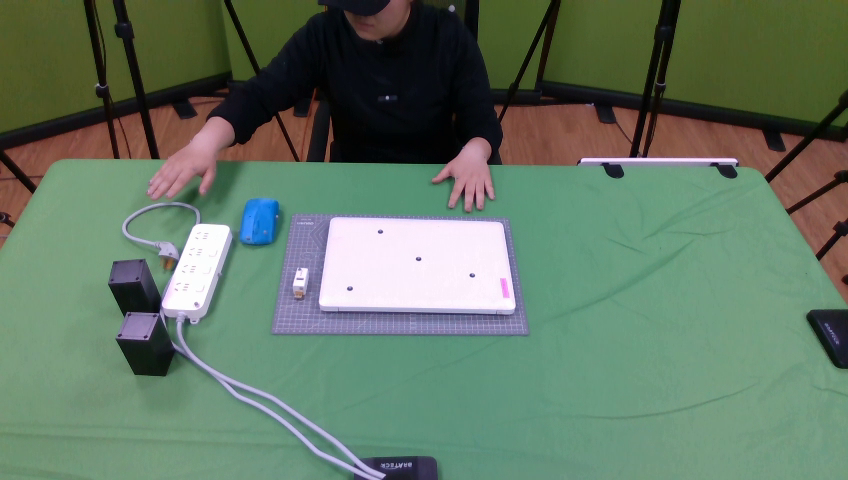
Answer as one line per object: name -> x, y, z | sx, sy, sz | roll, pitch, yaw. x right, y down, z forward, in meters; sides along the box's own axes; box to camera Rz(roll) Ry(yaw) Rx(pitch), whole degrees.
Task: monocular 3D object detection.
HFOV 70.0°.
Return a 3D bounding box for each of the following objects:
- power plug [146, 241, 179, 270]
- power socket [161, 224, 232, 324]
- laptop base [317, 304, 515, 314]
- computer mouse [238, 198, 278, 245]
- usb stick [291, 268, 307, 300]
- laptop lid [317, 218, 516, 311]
power plug -> -0.489, 0.030, 1.130 | 0.072, 0.035, 0.052 | 0, 64, 26
power socket -> -0.412, 0.053, 1.106 | 0.072, 0.033, 0.225 | 4, 46, -1
laptop base -> -0.014, 0.049, 1.150 | 0.354, 0.023, 0.234 | 1, 42, -3
computer mouse -> -0.328, -0.040, 1.200 | 0.063, 0.041, 0.116 | 4, 50, -4
usb stick -> -0.227, 0.081, 1.093 | 0.021, 0.027, 0.059 | 5, 47, -3
laptop lid -> -0.013, 0.040, 1.143 | 0.357, 0.013, 0.240 | 3, 43, -2
